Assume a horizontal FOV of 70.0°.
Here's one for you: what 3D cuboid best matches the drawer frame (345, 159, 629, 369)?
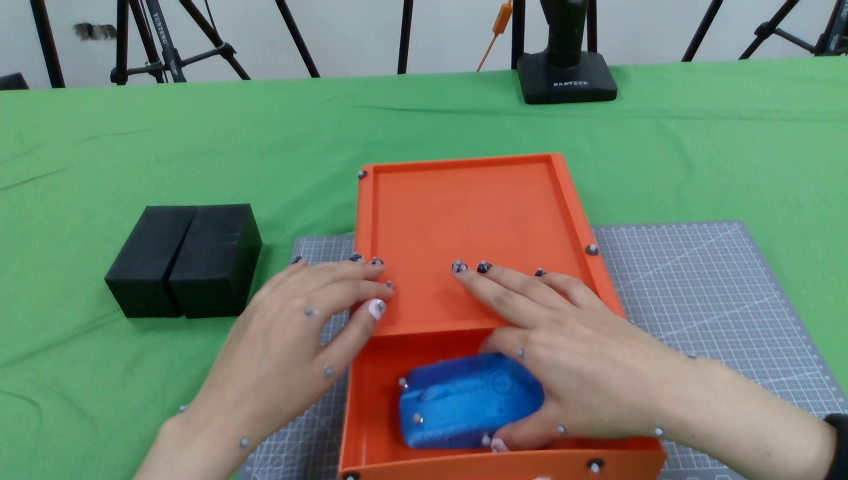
[{"bbox_3d":[0.041,0.026,0.520,0.202,0.083,0.211,-5,41,0],"label":"drawer frame"}]

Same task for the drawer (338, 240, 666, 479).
[{"bbox_3d":[0.044,0.091,0.449,0.194,0.074,0.209,-4,42,1],"label":"drawer"}]

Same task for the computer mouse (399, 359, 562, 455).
[{"bbox_3d":[0.039,0.119,0.435,0.117,0.041,0.062,-5,46,8],"label":"computer mouse"}]
